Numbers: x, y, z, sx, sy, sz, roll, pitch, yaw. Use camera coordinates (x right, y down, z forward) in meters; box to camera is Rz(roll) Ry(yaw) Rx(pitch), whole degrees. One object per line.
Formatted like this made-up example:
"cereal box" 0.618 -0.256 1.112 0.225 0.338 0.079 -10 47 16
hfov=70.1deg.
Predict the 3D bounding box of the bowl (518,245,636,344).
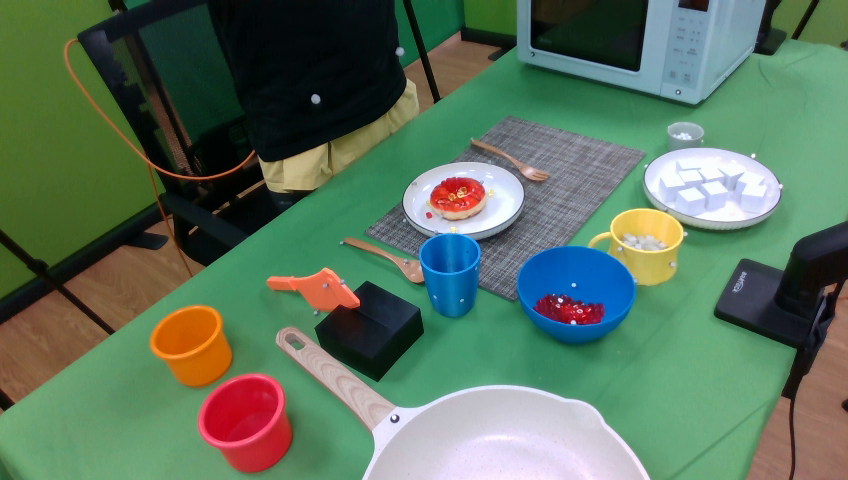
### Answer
"bowl" 0.199 0.084 0.802 0.151 0.077 0.150 -4 40 4

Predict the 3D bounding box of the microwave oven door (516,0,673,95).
"microwave oven door" 0.344 -0.458 1.257 0.353 0.245 0.039 26 51 33

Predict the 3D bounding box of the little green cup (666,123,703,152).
"little green cup" 0.472 -0.183 1.102 0.061 0.039 0.061 -5 39 4

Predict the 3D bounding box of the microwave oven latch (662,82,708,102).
"microwave oven latch" 0.518 -0.298 1.203 0.078 0.029 0.030 28 53 35

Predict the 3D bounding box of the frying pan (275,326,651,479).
"frying pan" 0.003 0.229 0.641 0.484 0.103 0.308 34 54 28

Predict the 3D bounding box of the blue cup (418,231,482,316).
"blue cup" 0.040 0.053 0.843 0.092 0.100 0.092 -4 43 4

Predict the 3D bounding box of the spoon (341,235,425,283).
"spoon" -0.061 0.023 0.953 0.192 0.022 0.041 24 69 30

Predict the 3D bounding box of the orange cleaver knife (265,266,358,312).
"orange cleaver knife" -0.164 0.073 0.864 0.210 0.077 0.012 -6 31 50

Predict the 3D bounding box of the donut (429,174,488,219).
"donut" 0.058 -0.075 1.015 0.099 0.048 0.098 -6 38 5

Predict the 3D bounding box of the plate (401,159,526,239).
"plate" 0.067 -0.065 1.019 0.209 0.038 0.208 -4 40 4

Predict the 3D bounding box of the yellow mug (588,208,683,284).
"yellow mug" 0.305 0.009 0.884 0.131 0.064 0.099 -4 40 5

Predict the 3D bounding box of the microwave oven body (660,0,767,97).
"microwave oven body" 0.473 -0.516 1.314 0.438 0.261 0.327 26 51 34

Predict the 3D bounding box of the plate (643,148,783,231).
"plate" 0.464 -0.080 0.986 0.207 0.039 0.206 -4 41 4

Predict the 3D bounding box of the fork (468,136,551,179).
"fork" 0.153 -0.156 1.126 0.028 0.019 0.205 -39 51 -18
